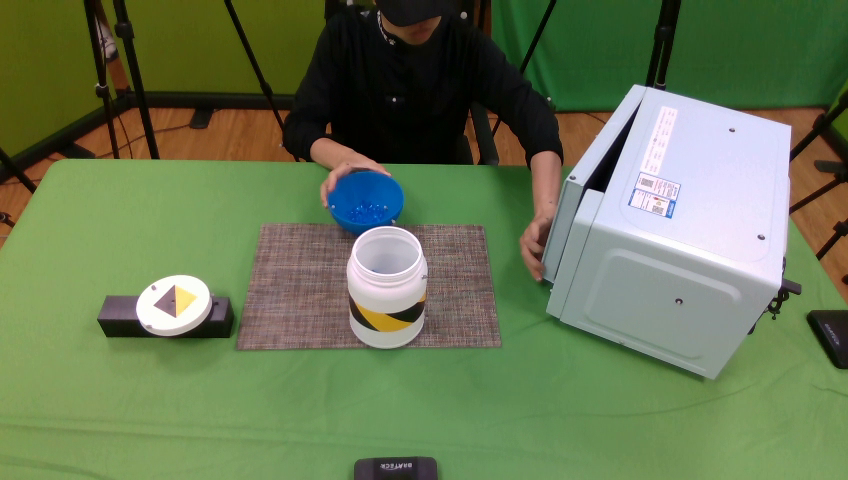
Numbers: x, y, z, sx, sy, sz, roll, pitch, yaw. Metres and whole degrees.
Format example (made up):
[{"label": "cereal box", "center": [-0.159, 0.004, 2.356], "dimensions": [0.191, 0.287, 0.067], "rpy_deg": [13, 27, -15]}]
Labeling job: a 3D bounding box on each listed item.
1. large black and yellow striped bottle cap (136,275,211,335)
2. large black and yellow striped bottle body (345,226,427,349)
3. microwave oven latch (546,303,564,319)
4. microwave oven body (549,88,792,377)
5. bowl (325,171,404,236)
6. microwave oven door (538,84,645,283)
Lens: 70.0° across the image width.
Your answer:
[{"label": "large black and yellow striped bottle cap", "center": [-0.412, 0.105, 0.999], "dimensions": [0.115, 0.019, 0.114], "rpy_deg": [3, 46, -3]}, {"label": "large black and yellow striped bottle body", "center": [-0.062, 0.079, 0.998], "dimensions": [0.131, 0.185, 0.130], "rpy_deg": [2, 46, -2]}, {"label": "microwave oven latch", "center": [0.242, 0.102, 1.081], "dimensions": [0.030, 0.029, 0.079], "rpy_deg": [21, 48, 17]}, {"label": "microwave oven body", "center": [0.456, -0.028, 1.088], "dimensions": [0.325, 0.261, 0.440], "rpy_deg": [20, 47, 16]}, {"label": "bowl", "center": [-0.115, -0.058, 1.198], "dimensions": [0.151, 0.077, 0.150], "rpy_deg": [1, 48, -1]}, {"label": "microwave oven door", "center": [0.325, -0.115, 1.154], "dimensions": [0.039, 0.245, 0.355], "rpy_deg": [26, 50, 19]}]
